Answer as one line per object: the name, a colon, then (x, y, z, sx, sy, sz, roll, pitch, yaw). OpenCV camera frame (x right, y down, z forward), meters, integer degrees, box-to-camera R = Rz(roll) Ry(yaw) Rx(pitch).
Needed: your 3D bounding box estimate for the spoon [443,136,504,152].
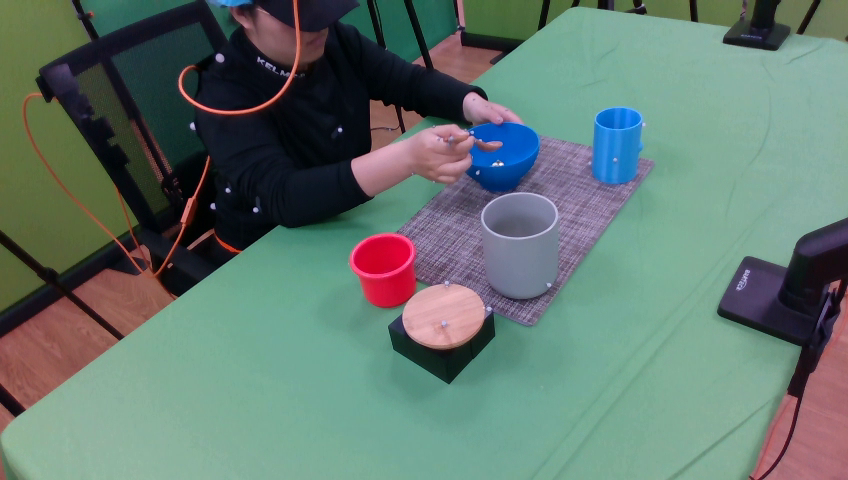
spoon: (0.075, -0.153, 0.942, 0.041, 0.021, 0.195, 6, 5, 29)

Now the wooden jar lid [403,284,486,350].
wooden jar lid: (0.027, 0.101, 0.786, 0.108, 0.021, 0.108, -5, 39, 4)

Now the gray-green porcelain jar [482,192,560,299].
gray-green porcelain jar: (0.139, 0.012, 0.858, 0.106, 0.127, 0.105, -6, 40, 5)

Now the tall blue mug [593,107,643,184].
tall blue mug: (0.330, -0.172, 1.052, 0.078, 0.108, 0.106, -12, 40, 0)

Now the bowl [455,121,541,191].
bowl: (0.134, -0.141, 1.078, 0.151, 0.077, 0.150, -6, 40, 5)
